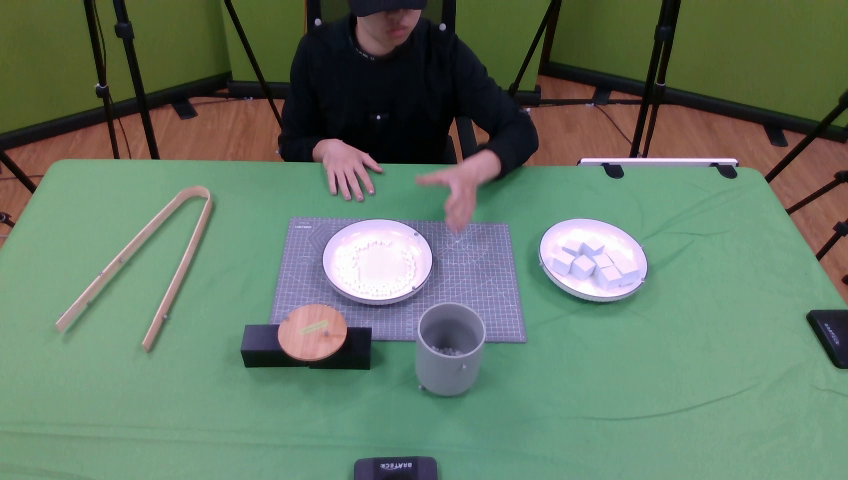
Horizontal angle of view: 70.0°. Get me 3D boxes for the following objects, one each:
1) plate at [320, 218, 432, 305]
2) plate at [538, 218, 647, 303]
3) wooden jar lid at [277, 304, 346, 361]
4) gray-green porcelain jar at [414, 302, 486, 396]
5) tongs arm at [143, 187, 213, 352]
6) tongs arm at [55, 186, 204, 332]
[{"bbox_3d":[-0.088,0.044,1.134,0.209,0.038,0.208,3,46,-2],"label":"plate"},{"bbox_3d":[0.322,0.042,1.171,0.208,0.039,0.206,2,46,-2],"label":"plate"},{"bbox_3d":[-0.179,0.150,0.972,0.108,0.021,0.107,2,45,-2],"label":"wooden jar lid"},{"bbox_3d":[0.038,0.177,0.958,0.106,0.127,0.105,2,46,-2],"label":"gray-green porcelain jar"},{"bbox_3d":[-0.450,0.039,1.121,0.028,0.028,0.385,2,46,1],"label":"tongs arm"},{"bbox_3d":[-0.530,0.022,1.125,0.051,0.026,0.383,14,46,8],"label":"tongs arm"}]
